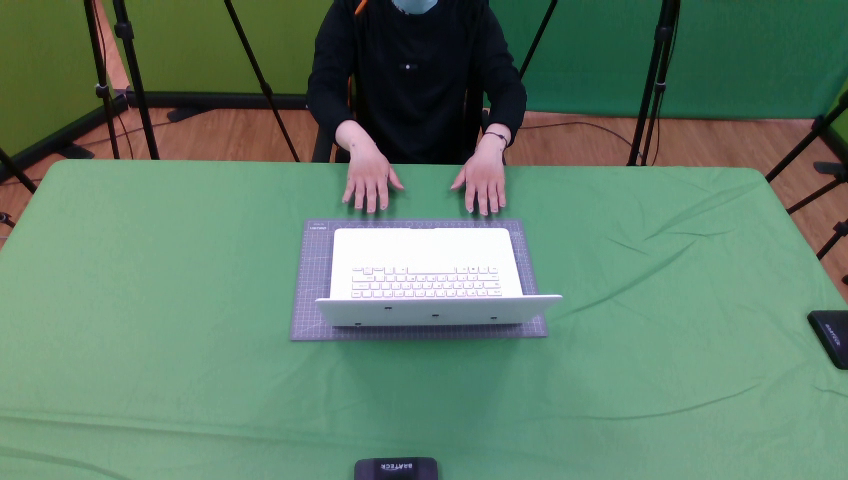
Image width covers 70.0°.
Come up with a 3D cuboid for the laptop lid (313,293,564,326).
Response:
[{"bbox_3d":[0.017,0.112,0.945,0.357,0.242,0.013,0,74,-5],"label":"laptop lid"}]

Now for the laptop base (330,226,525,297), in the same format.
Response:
[{"bbox_3d":[0.005,0.061,1.137,0.355,0.023,0.234,0,43,-4],"label":"laptop base"}]
